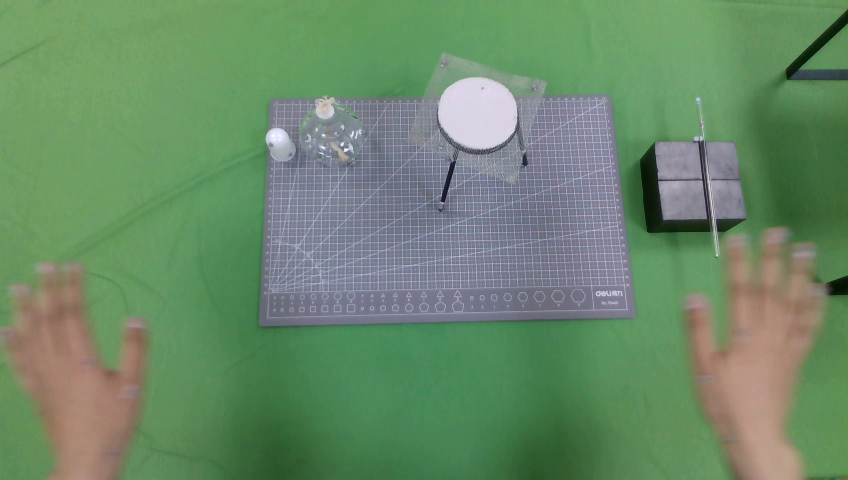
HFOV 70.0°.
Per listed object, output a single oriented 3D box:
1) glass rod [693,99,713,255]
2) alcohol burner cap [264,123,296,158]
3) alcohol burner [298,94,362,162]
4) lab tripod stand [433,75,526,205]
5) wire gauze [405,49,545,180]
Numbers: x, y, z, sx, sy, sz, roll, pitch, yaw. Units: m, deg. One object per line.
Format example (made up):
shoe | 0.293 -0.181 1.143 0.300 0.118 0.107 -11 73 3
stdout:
glass rod | 0.334 -0.079 0.726 0.008 0.008 0.198 2 75 -1
alcohol burner cap | -0.181 -0.126 0.752 0.034 0.048 0.033 0 74 2
alcohol burner | -0.113 -0.140 0.721 0.078 0.119 0.077 1 74 -3
lab tripod stand | 0.058 -0.122 0.712 0.148 0.132 0.147 1 73 -2
wire gauze | 0.056 -0.138 0.647 0.125 0.011 0.121 20 75 3
